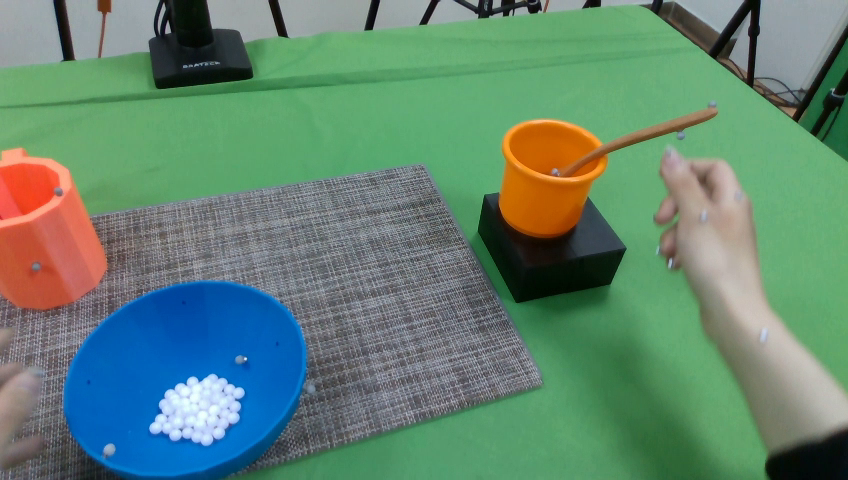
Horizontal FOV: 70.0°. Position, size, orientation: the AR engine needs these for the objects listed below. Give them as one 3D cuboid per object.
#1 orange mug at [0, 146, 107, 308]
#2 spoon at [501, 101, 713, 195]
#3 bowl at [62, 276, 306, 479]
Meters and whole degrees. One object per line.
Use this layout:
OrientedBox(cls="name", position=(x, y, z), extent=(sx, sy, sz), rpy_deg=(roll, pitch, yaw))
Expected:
OrientedBox(cls="orange mug", position=(-0.333, -0.019, 0.512), extent=(0.083, 0.101, 0.125), rpy_deg=(-18, 55, -22))
OrientedBox(cls="spoon", position=(0.148, -0.077, 0.520), extent=(0.022, 0.193, 0.041), rpy_deg=(50, 43, -18))
OrientedBox(cls="bowl", position=(-0.155, 0.107, 0.422), extent=(0.151, 0.077, 0.150), rpy_deg=(3, 46, -3))
